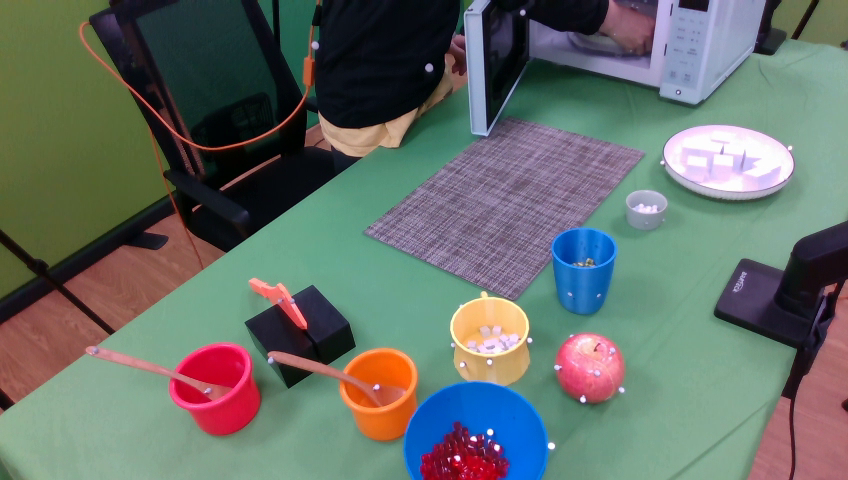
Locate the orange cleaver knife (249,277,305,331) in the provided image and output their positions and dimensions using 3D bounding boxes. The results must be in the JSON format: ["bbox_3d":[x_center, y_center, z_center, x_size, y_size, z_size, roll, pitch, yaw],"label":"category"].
[{"bbox_3d":[-0.210,0.088,0.855,0.012,0.077,0.210,-28,15,-25],"label":"orange cleaver knife"}]

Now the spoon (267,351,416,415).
[{"bbox_3d":[-0.091,0.162,0.699,0.021,0.195,0.041,-45,30,26],"label":"spoon"}]

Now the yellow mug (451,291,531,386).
[{"bbox_3d":[0.085,0.120,0.786,0.100,0.064,0.130,-7,39,1],"label":"yellow mug"}]

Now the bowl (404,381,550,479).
[{"bbox_3d":[0.058,0.235,0.645,0.151,0.077,0.150,-4,39,4],"label":"bowl"}]

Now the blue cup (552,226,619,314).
[{"bbox_3d":[0.218,0.047,0.825,0.092,0.101,0.092,-6,40,5],"label":"blue cup"}]

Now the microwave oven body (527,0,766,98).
[{"bbox_3d":[0.472,-0.513,1.317,0.438,0.261,0.327,26,51,34],"label":"microwave oven body"}]

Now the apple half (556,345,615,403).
[{"bbox_3d":[0.181,0.167,0.709,0.080,0.081,0.033,29,50,35],"label":"apple half"}]

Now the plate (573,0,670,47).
[{"bbox_3d":[0.441,-0.482,1.358,0.209,0.038,0.208,-3,42,3],"label":"plate"}]

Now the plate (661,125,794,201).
[{"bbox_3d":[0.514,-0.128,1.035,0.207,0.039,0.206,-4,40,4],"label":"plate"}]

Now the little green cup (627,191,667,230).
[{"bbox_3d":[0.352,-0.046,0.963,0.061,0.039,0.061,-4,40,4],"label":"little green cup"}]

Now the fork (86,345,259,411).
[{"bbox_3d":[-0.298,0.166,0.728,0.209,0.018,0.028,28,47,-23],"label":"fork"}]

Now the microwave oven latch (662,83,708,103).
[{"bbox_3d":[0.519,-0.297,1.204,0.078,0.029,0.030,29,53,36],"label":"microwave oven latch"}]

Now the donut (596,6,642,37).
[{"bbox_3d":[0.435,-0.489,1.349,0.099,0.048,0.098,-9,37,7],"label":"donut"}]

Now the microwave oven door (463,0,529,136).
[{"bbox_3d":[0.156,-0.410,1.236,0.039,0.245,0.355,10,43,19],"label":"microwave oven door"}]

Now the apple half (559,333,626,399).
[{"bbox_3d":[0.209,0.147,0.730,0.080,0.075,0.053,26,48,38],"label":"apple half"}]
